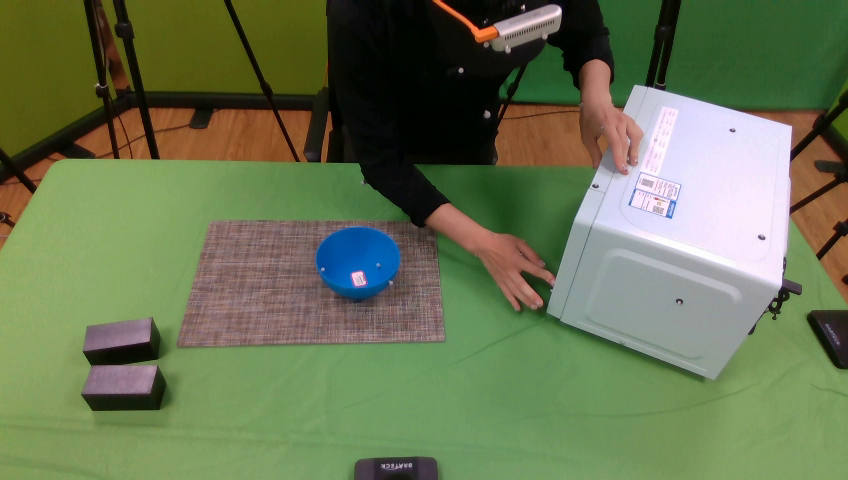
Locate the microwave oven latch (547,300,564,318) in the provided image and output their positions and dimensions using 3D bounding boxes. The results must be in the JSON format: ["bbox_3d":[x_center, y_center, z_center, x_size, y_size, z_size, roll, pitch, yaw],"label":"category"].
[{"bbox_3d":[0.242,0.102,1.081,0.030,0.029,0.079,22,48,17],"label":"microwave oven latch"}]

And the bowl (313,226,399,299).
[{"bbox_3d":[-0.120,0.054,1.091,0.151,0.077,0.150,2,46,-2],"label":"bowl"}]

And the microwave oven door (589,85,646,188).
[{"bbox_3d":[0.342,-0.107,1.149,0.039,0.245,0.354,21,48,15],"label":"microwave oven door"}]

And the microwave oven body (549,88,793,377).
[{"bbox_3d":[0.456,-0.028,1.087,0.325,0.261,0.440,20,47,16],"label":"microwave oven body"}]
